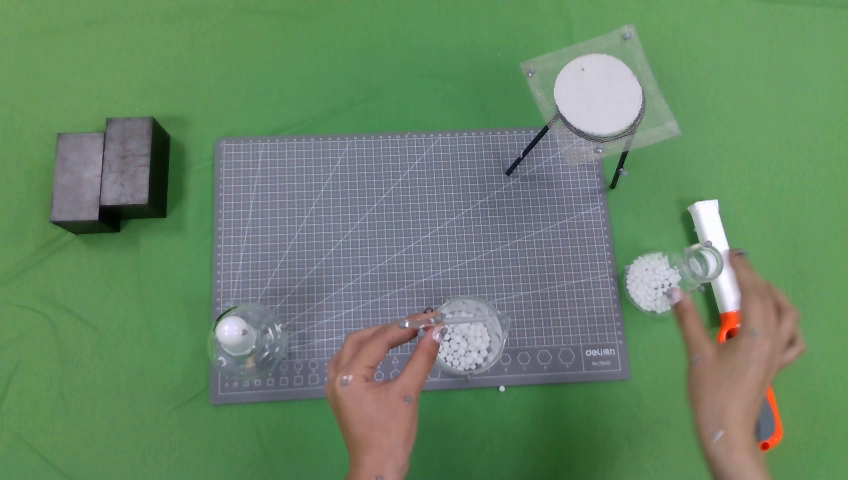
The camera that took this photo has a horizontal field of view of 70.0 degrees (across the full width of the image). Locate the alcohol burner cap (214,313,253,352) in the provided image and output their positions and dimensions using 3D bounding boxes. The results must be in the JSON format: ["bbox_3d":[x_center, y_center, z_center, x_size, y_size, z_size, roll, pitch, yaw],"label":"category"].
[{"bbox_3d":[-0.179,0.084,0.564,0.034,0.048,0.033,3,68,-8],"label":"alcohol burner cap"}]

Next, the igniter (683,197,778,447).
[{"bbox_3d":[0.339,0.085,0.672,0.057,0.025,0.275,-7,77,-15],"label":"igniter"}]

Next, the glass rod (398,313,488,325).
[{"bbox_3d":[0.023,0.068,0.517,0.008,0.201,0.008,-2,83,23],"label":"glass rod"}]

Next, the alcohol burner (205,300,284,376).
[{"bbox_3d":[-0.181,0.094,0.599,0.078,0.119,0.077,1,75,-4],"label":"alcohol burner"}]

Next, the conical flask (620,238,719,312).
[{"bbox_3d":[0.260,0.032,0.632,0.075,0.122,0.075,1,76,-2],"label":"conical flask"}]

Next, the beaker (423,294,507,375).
[{"bbox_3d":[0.038,0.097,0.616,0.084,0.100,0.073,-21,78,-7],"label":"beaker"}]

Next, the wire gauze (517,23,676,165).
[{"bbox_3d":[0.169,-0.143,0.593,0.125,0.011,0.121,-19,80,-7],"label":"wire gauze"}]

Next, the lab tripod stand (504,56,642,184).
[{"bbox_3d":[0.165,-0.123,0.657,0.148,0.132,0.147,1,78,-3],"label":"lab tripod stand"}]
